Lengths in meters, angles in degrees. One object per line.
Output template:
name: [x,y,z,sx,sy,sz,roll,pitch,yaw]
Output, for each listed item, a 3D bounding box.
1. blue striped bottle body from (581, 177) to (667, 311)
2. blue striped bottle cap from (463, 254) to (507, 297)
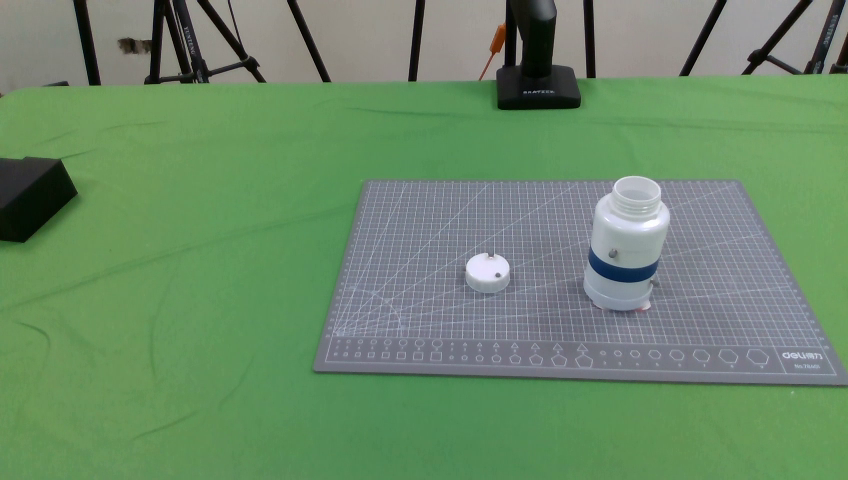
blue striped bottle body: [0.181,0.002,0.549,0.063,0.122,0.062,-2,40,2]
blue striped bottle cap: [0.061,0.035,0.603,0.044,0.021,0.044,-1,38,1]
